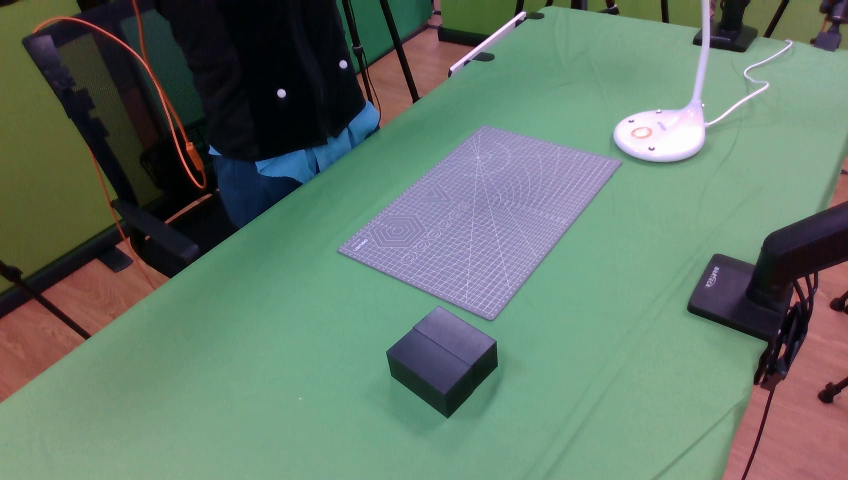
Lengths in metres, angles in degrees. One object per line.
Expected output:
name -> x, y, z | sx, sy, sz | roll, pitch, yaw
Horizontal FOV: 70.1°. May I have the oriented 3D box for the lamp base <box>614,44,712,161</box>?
lamp base -> 0.441, -0.257, 1.081 | 0.180, 0.181, 0.159 | -15, 41, -12
